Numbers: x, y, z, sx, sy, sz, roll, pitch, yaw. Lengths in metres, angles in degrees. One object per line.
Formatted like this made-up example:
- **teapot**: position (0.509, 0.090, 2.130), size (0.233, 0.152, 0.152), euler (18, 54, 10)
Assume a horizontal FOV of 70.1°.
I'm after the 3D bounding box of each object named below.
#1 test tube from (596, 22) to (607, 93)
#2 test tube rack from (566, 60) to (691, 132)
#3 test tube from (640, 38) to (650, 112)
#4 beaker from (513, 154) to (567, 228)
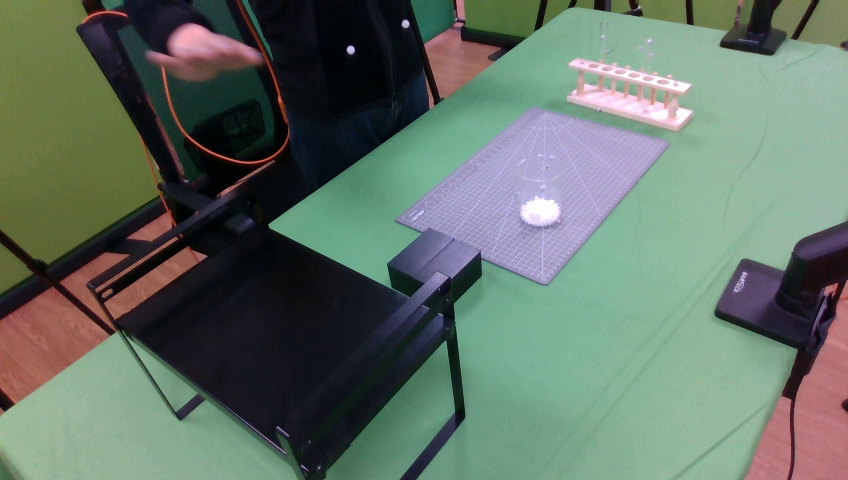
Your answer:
- **test tube**: position (0.363, -0.372, 1.240), size (0.017, 0.151, 0.017), euler (-6, 40, 5)
- **test tube rack**: position (0.411, -0.299, 1.217), size (0.240, 0.085, 0.067), euler (26, 51, 33)
- **test tube**: position (0.422, -0.312, 1.154), size (0.017, 0.151, 0.017), euler (-9, 39, 8)
- **beaker**: position (0.186, -0.077, 0.973), size (0.084, 0.101, 0.074), euler (1, 41, 11)
